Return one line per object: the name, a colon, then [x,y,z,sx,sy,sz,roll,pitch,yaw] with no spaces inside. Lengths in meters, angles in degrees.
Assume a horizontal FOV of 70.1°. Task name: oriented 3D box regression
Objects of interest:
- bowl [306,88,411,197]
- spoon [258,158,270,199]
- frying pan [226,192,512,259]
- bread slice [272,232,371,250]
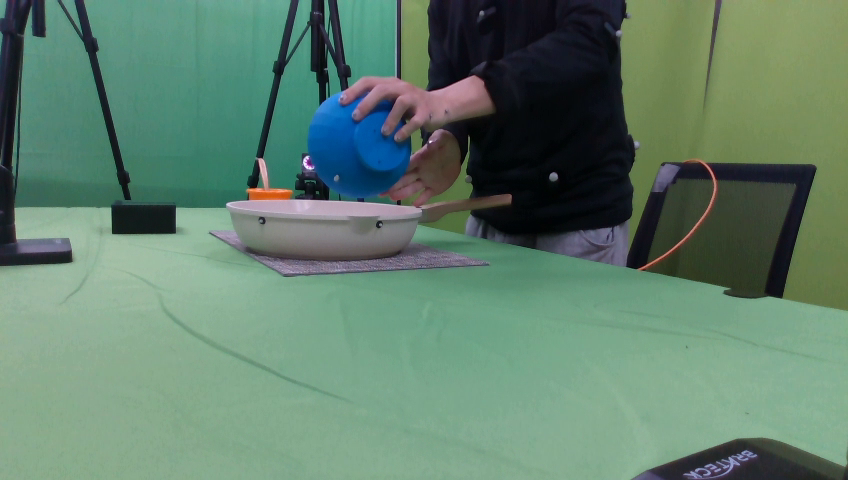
bowl: [-0.073,-0.132,0.810,0.152,0.151,0.076,-2,5,-30]
spoon: [-0.332,-0.107,1.269,0.042,0.021,0.193,1,52,-24]
frying pan: [-0.058,-0.041,0.975,0.490,0.102,0.305,-11,13,-26]
bread slice: [-0.148,0.001,0.929,0.133,0.018,0.107,4,7,38]
